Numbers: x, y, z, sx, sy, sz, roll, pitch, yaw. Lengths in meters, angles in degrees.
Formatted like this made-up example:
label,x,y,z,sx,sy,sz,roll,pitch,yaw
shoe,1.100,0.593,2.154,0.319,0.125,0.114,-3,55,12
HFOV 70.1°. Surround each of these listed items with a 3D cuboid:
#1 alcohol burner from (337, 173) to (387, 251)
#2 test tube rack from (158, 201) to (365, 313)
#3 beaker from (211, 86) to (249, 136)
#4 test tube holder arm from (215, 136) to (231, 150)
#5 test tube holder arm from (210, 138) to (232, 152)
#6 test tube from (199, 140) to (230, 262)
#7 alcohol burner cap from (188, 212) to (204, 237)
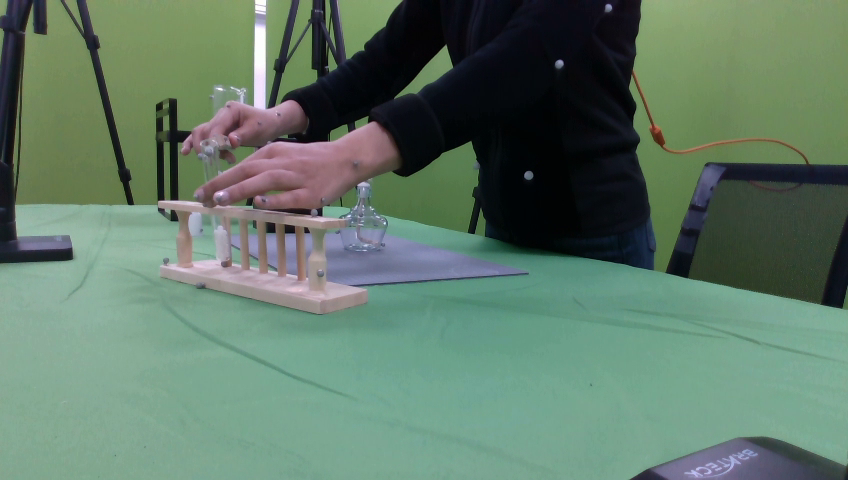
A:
label,x,y,z,sx,sy,sz,roll,pitch,yaw
alcohol burner,-0.095,-0.043,0.926,0.078,0.119,0.078,3,5,0
test tube rack,-0.173,0.009,0.624,0.241,0.085,0.067,7,9,34
beaker,-0.413,-0.274,1.297,0.074,0.100,0.083,-5,11,-44
test tube holder arm,-0.253,-0.122,0.764,0.010,0.015,0.087,-13,10,-11
test tube holder arm,-0.269,-0.126,0.806,0.013,0.015,0.178,-14,10,-12
test tube,-0.216,-0.036,0.627,0.017,0.150,0.017,4,38,-3
alcohol burner cap,-0.390,-0.029,1.025,0.034,0.048,0.034,1,8,0
